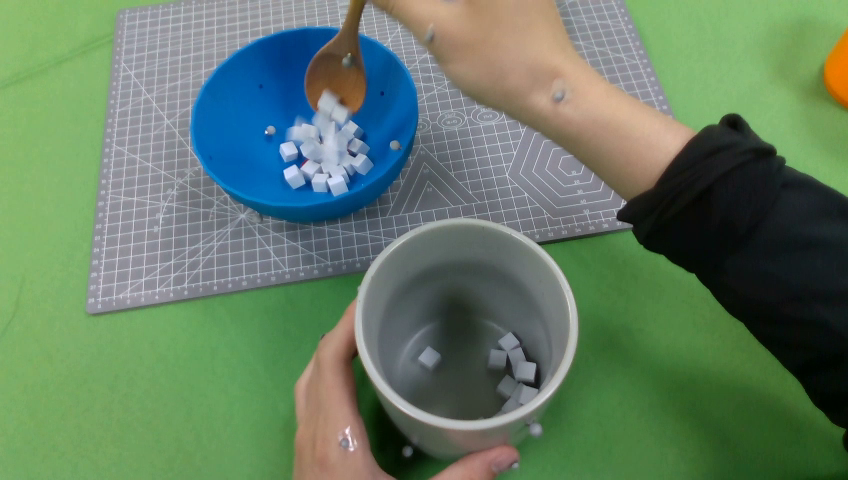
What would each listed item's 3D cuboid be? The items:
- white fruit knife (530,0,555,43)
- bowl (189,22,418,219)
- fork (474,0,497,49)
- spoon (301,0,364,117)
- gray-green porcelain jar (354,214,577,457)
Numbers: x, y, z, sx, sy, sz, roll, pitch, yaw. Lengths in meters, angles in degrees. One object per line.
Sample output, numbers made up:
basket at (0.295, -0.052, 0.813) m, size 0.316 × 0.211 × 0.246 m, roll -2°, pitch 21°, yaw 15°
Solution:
white fruit knife at (0.084, -0.269, 0.524) m, size 0.016 × 0.027 × 0.206 m, roll -10°, pitch 77°, yaw -4°
bowl at (-0.077, -0.071, 0.430) m, size 0.151 × 0.077 × 0.150 m, roll -1°, pitch 64°, yaw 1°
fork at (0.035, -0.263, 0.521) m, size 0.028 × 0.018 × 0.206 m, roll -12°, pitch 82°, yaw -7°
spoon at (-0.039, -0.130, 0.335) m, size 0.042 × 0.194 × 0.021 m, roll 24°, pitch 63°, yaw -8°
gray-green porcelain jar at (0.022, 0.061, 0.337) m, size 0.106 × 0.127 × 0.105 m, roll -1°, pitch 63°, yaw 2°
